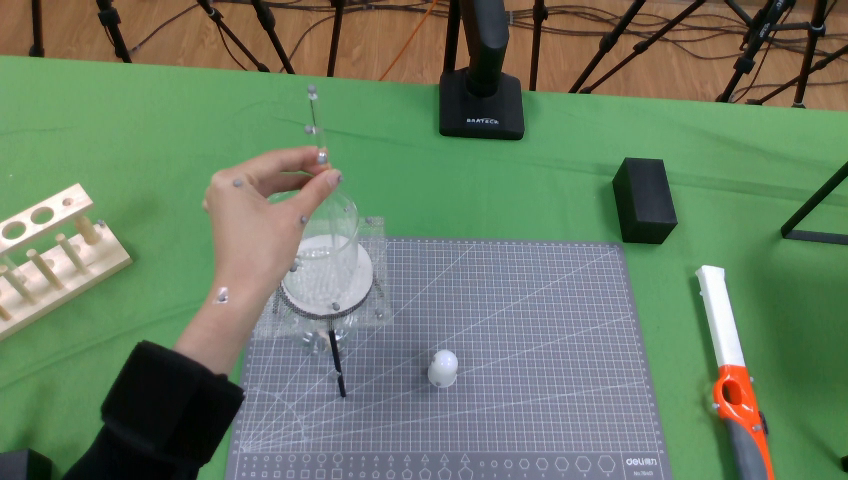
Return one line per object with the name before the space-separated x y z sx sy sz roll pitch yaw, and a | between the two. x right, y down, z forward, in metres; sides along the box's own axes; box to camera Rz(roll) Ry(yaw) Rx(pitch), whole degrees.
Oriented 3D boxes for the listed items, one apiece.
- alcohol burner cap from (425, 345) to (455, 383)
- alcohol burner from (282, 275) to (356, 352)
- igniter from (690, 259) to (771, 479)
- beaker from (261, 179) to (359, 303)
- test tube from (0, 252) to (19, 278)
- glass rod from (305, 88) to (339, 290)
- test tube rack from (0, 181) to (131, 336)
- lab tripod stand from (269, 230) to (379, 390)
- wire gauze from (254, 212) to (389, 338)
alcohol burner cap | 0.018 0.131 0.647 0.034 0.048 0.033 2 59 -3
alcohol burner | -0.109 0.070 0.630 0.078 0.120 0.077 4 57 -5
igniter | 0.341 0.145 0.680 0.057 0.025 0.274 10 58 -11
beaker | -0.098 0.004 0.525 0.084 0.101 0.073 24 60 8
test tube | -0.444 -0.004 0.605 0.017 0.151 0.017 3 54 -4
glass rod | -0.079 -0.028 0.474 0.008 0.201 0.008 1 44 0
test tube rack | -0.449 0.044 0.634 0.242 0.086 0.066 -36 68 -23
lab tripod stand | -0.099 0.065 0.622 0.148 0.132 0.147 3 59 -5
wire gauze | -0.097 0.028 0.568 0.121 0.011 0.124 -4 63 -6
